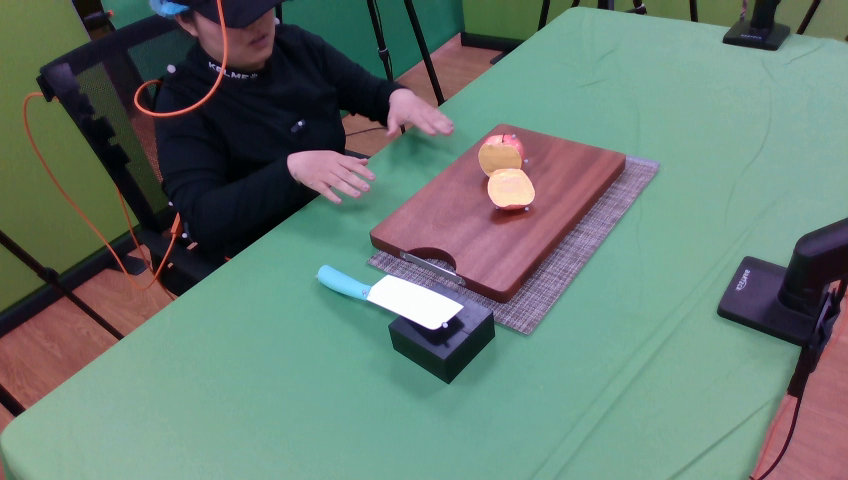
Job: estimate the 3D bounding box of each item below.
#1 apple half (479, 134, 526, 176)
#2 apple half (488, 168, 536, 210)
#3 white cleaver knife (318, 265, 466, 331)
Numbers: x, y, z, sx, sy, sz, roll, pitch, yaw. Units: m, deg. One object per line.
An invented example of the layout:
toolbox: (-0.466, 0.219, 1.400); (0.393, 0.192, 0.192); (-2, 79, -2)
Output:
apple half: (0.141, -0.149, 1.052); (0.080, 0.075, 0.053); (7, 39, 24)
apple half: (0.142, -0.080, 0.995); (0.081, 0.033, 0.081); (1, 62, -2)
white cleaver knife: (-0.056, 0.075, 0.871); (0.284, 0.021, 0.066); (17, 42, 43)
